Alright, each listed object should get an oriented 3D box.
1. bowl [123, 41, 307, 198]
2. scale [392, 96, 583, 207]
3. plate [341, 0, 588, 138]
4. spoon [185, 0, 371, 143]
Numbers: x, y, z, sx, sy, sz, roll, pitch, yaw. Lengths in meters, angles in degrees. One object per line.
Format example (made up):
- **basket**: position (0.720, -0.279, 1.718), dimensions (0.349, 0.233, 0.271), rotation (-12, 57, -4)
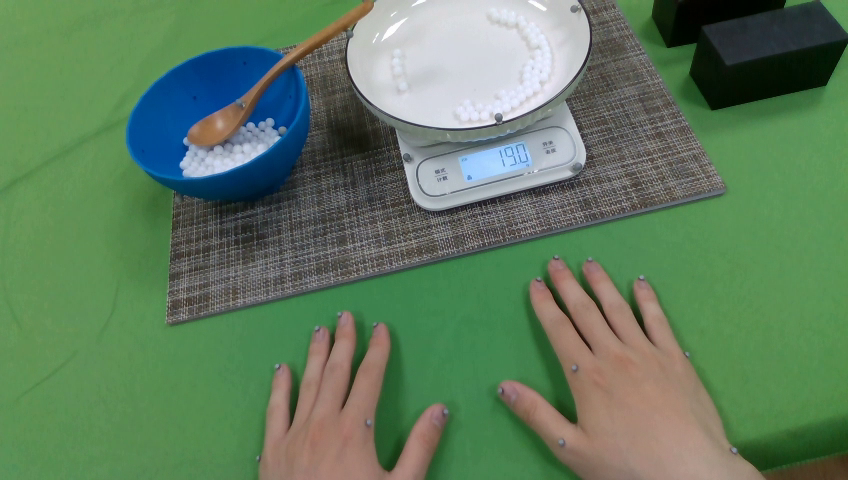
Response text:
- **bowl**: position (-0.164, -0.089, 0.519), dimensions (0.151, 0.077, 0.150), rotation (-4, 57, 7)
- **scale**: position (0.042, -0.127, 0.536), dimensions (0.149, 0.032, 0.199), rotation (-14, 57, 1)
- **plate**: position (0.034, -0.163, 0.521), dimensions (0.209, 0.038, 0.207), rotation (-4, 57, 6)
- **spoon**: position (-0.123, -0.141, 0.505), dimensions (0.194, 0.022, 0.041), rotation (-36, 49, 13)
